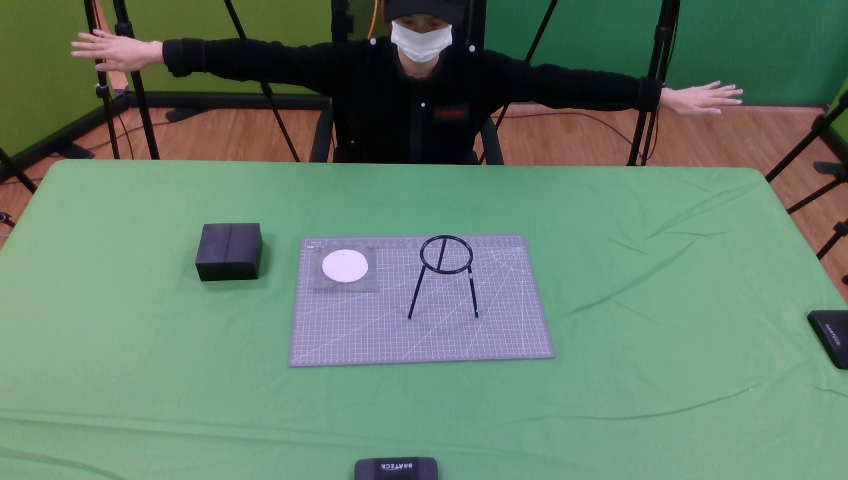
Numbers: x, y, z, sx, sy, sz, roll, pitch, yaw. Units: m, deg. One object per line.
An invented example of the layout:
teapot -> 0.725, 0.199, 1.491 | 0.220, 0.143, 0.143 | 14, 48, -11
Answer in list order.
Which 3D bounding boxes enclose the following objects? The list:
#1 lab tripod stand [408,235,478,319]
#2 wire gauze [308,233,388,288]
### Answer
lab tripod stand -> 0.032, 0.065, 1.057 | 0.148, 0.132, 0.147 | 1, 45, -1
wire gauze -> -0.144, 0.033, 1.140 | 0.121, 0.011, 0.124 | -16, 43, -16
